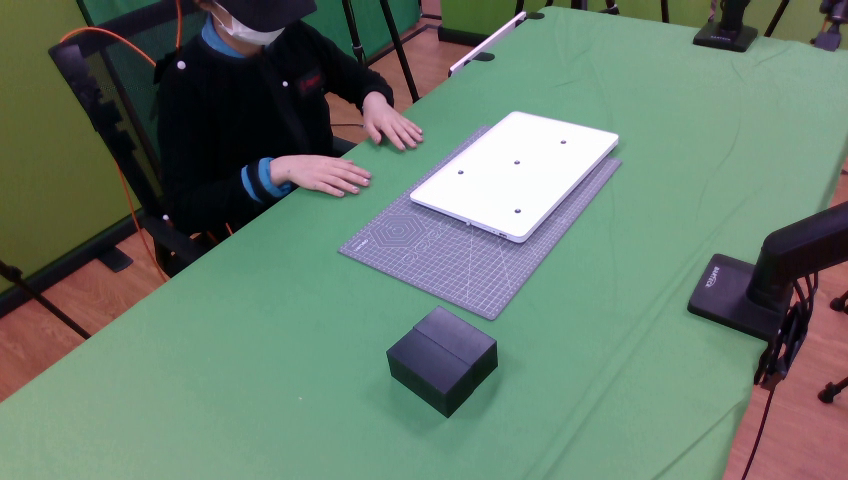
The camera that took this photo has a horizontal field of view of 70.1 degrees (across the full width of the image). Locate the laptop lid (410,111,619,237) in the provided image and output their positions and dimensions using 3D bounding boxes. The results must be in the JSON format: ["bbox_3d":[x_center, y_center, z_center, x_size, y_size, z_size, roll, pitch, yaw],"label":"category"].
[{"bbox_3d":[0.168,-0.136,1.089,0.239,0.013,0.358,23,48,34],"label":"laptop lid"}]

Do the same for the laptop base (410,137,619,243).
[{"bbox_3d":[0.171,-0.126,1.096,0.233,0.023,0.355,21,47,33],"label":"laptop base"}]
